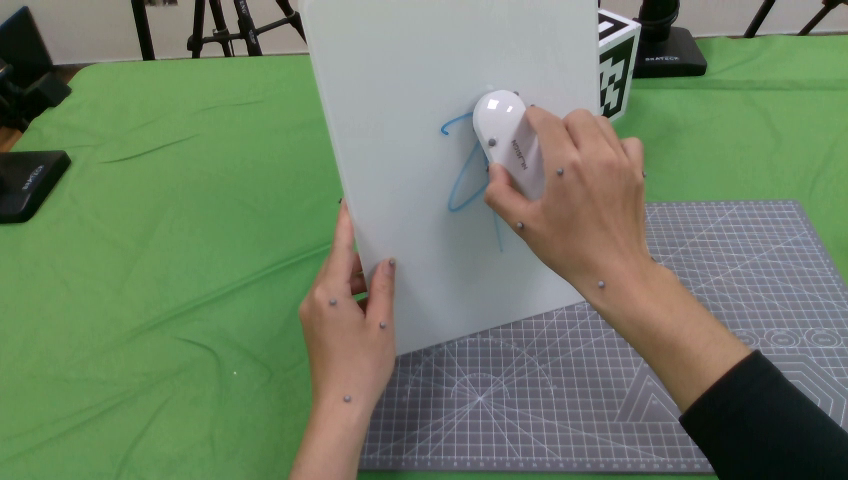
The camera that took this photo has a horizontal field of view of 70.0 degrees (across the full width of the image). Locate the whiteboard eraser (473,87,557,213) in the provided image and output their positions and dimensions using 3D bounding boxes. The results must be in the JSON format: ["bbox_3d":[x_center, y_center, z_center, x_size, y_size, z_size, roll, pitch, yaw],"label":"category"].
[{"bbox_3d":[0.070,-0.068,0.462,0.041,0.102,0.018,-31,18,-14],"label":"whiteboard eraser"}]

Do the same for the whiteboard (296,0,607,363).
[{"bbox_3d":[0.027,-0.082,0.540,0.217,0.308,0.142,-15,27,-9],"label":"whiteboard"}]
